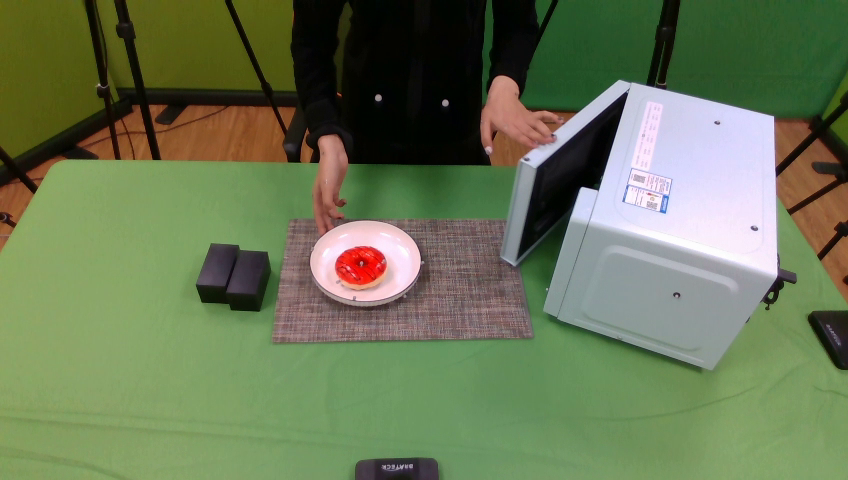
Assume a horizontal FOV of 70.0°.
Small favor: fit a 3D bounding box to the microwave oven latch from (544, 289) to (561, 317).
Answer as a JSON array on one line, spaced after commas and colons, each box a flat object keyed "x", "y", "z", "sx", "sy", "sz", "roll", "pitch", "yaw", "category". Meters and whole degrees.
[{"x": 0.237, "y": 0.098, "z": 1.087, "sx": 0.030, "sy": 0.029, "sz": 0.079, "roll": 17, "pitch": 47, "yaw": 13, "category": "microwave oven latch"}]

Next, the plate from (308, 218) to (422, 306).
[{"x": -0.110, "y": 0.044, "z": 1.132, "sx": 0.209, "sy": 0.038, "sz": 0.208, "roll": 2, "pitch": 47, "yaw": -2, "category": "plate"}]

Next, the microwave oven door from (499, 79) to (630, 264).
[{"x": 0.277, "y": -0.137, "z": 1.174, "sx": 0.039, "sy": 0.245, "sz": 0.355, "roll": 33, "pitch": 53, "yaw": 25, "category": "microwave oven door"}]

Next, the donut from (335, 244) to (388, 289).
[{"x": -0.114, "y": 0.048, "z": 1.113, "sx": 0.099, "sy": 0.048, "sz": 0.098, "roll": 1, "pitch": 45, "yaw": -1, "category": "donut"}]

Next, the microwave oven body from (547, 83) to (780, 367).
[{"x": 0.445, "y": -0.041, "z": 1.101, "sx": 0.325, "sy": 0.261, "sz": 0.440, "roll": 17, "pitch": 47, "yaw": 13, "category": "microwave oven body"}]
